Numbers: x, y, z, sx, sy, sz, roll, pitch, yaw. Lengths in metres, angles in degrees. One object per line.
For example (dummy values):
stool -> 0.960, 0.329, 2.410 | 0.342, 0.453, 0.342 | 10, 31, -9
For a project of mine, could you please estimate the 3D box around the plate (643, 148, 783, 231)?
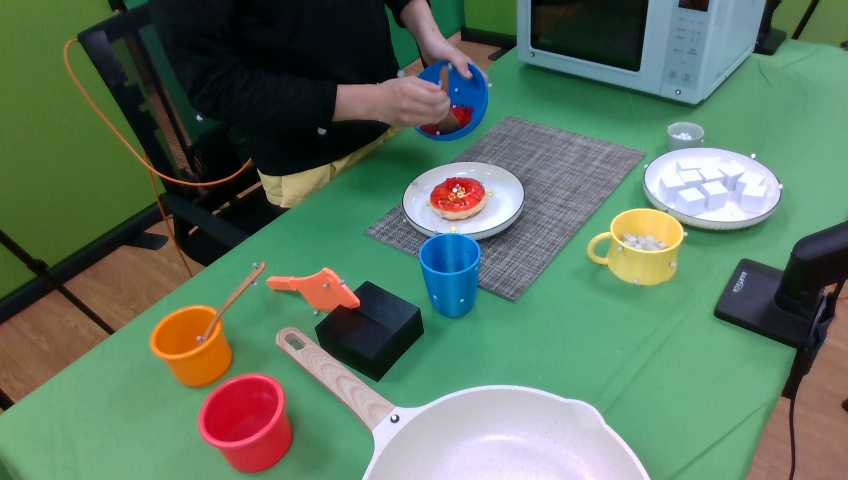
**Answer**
plate -> 0.464, -0.080, 0.985 | 0.207, 0.039, 0.206 | -4, 41, 4

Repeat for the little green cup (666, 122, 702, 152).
little green cup -> 0.471, -0.184, 1.102 | 0.061, 0.039, 0.061 | -5, 41, 5

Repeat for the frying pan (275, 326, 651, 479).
frying pan -> 0.003, 0.229, 0.641 | 0.484, 0.103, 0.308 | 34, 54, 28

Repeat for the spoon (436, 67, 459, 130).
spoon -> 0.035, -0.225, 0.978 | 0.041, 0.194, 0.021 | -13, 70, 0

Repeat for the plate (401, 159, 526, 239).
plate -> 0.067, -0.065, 1.019 | 0.209, 0.038, 0.208 | -4, 40, 4

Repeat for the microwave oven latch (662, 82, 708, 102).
microwave oven latch -> 0.518, -0.298, 1.203 | 0.078, 0.029, 0.030 | 29, 53, 35

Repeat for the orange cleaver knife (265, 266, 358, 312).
orange cleaver knife -> -0.164, 0.073, 0.864 | 0.210, 0.077, 0.012 | -6, 31, 50

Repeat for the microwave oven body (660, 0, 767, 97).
microwave oven body -> 0.473, -0.516, 1.313 | 0.438, 0.261, 0.327 | 26, 51, 34

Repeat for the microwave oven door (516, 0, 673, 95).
microwave oven door -> 0.344, -0.458, 1.256 | 0.353, 0.245, 0.039 | 26, 51, 33

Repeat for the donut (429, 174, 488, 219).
donut -> 0.058, -0.075, 1.015 | 0.099, 0.048, 0.098 | -6, 38, 5

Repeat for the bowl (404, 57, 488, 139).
bowl -> 0.048, -0.236, 1.067 | 0.151, 0.077, 0.151 | -6, 71, 17

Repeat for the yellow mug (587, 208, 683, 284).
yellow mug -> 0.305, 0.009, 0.884 | 0.131, 0.064, 0.099 | -4, 41, 5

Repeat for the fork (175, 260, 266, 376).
fork -> -0.268, 0.103, 0.792 | 0.207, 0.019, 0.028 | -51, 41, 16

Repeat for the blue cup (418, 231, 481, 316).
blue cup -> 0.040, 0.053, 0.843 | 0.092, 0.100, 0.092 | -4, 43, 4
